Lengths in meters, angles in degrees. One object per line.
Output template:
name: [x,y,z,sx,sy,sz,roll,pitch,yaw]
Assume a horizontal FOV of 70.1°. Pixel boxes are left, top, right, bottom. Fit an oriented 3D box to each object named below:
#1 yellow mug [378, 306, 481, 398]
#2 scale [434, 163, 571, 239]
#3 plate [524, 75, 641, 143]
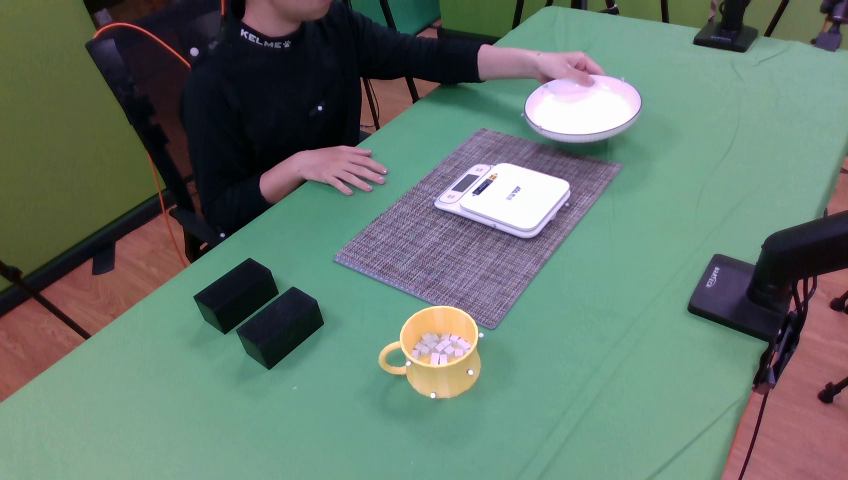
yellow mug: [0.006,0.144,0.767,0.131,0.064,0.099,-10,40,-2]
scale: [0.132,-0.075,1.025,0.199,0.032,0.149,22,48,30]
plate: [0.290,-0.237,1.113,0.209,0.038,0.208,-6,42,6]
